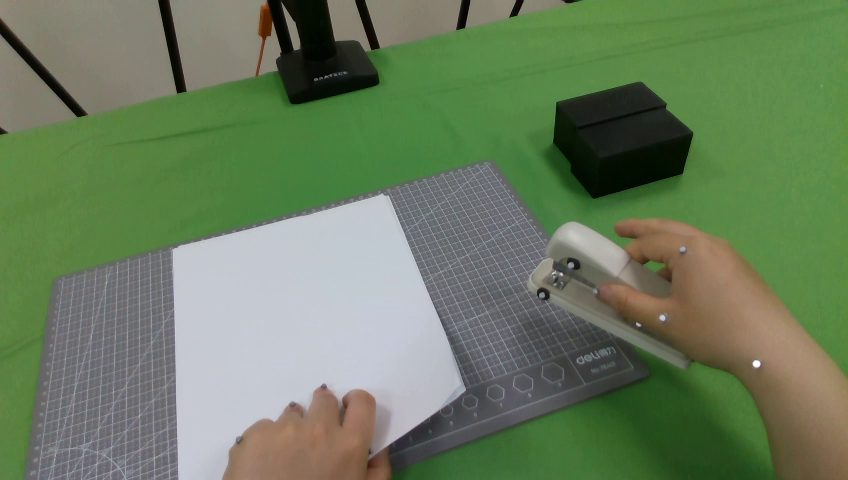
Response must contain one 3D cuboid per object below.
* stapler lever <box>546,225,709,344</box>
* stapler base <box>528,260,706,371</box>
[{"bbox_3d":[0.141,0.028,0.425,0.117,0.040,0.027,28,53,25],"label":"stapler lever"},{"bbox_3d":[0.140,0.046,0.443,0.129,0.024,0.041,28,53,25],"label":"stapler base"}]
